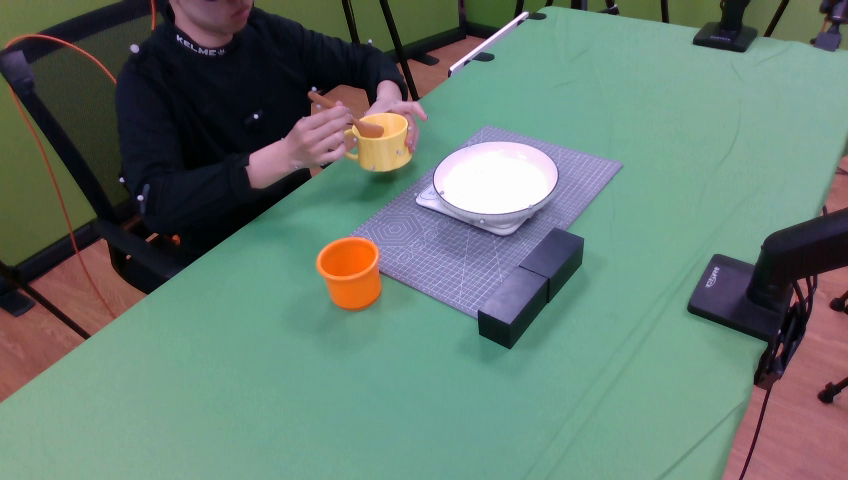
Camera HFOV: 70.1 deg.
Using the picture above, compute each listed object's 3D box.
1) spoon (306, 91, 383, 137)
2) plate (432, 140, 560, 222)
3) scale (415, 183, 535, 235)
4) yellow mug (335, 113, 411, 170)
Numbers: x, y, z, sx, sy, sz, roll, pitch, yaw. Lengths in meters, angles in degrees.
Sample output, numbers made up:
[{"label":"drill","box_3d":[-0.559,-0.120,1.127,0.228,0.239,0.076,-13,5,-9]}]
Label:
[{"label":"spoon","box_3d":[-0.130,-0.203,1.000,0.041,0.195,0.021,-36,59,20]},{"label":"plate","box_3d":[0.118,-0.094,0.999,0.209,0.038,0.208,-4,41,4]},{"label":"scale","box_3d":[0.099,-0.080,1.035,0.199,0.032,0.149,23,48,31]},{"label":"yellow mug","box_3d":[-0.092,-0.173,1.070,0.131,0.064,0.099,-6,36,1]}]
